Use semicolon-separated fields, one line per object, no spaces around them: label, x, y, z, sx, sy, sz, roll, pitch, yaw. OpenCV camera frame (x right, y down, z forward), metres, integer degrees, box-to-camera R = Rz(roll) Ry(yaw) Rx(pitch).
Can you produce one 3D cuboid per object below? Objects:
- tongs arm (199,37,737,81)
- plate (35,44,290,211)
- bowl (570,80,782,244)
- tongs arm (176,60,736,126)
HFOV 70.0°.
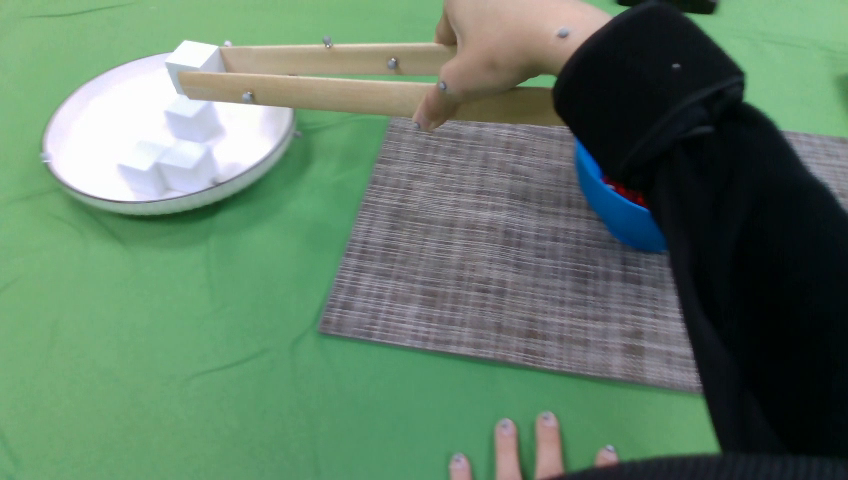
tongs arm;-0.004;-0.116;0.409;0.383;0.027;0.050;5;46;20
plate;-0.224;-0.100;0.539;0.209;0.038;0.207;1;51;-1
bowl;0.184;-0.050;0.479;0.151;0.077;0.150;1;50;-1
tongs arm;-0.012;-0.101;0.395;0.385;0.028;0.028;9;44;23
